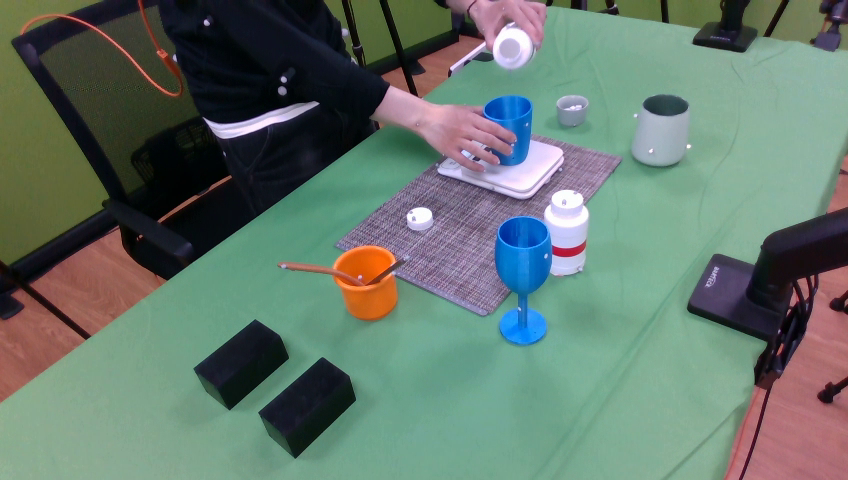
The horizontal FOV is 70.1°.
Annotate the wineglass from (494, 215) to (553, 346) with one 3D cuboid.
[{"bbox_3d":[0.127,0.055,0.770,0.074,0.173,0.073,-4,40,4],"label":"wineglass"}]

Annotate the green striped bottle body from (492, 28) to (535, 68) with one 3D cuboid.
[{"bbox_3d":[0.150,-0.321,1.015,0.063,0.063,0.119,5,17,14],"label":"green striped bottle body"}]

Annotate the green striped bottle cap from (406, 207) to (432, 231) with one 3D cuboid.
[{"bbox_3d":[-0.008,-0.035,1.011,0.044,0.020,0.044,-2,42,2],"label":"green striped bottle cap"}]

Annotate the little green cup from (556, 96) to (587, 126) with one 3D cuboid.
[{"bbox_3d":[0.295,-0.258,1.214,0.061,0.039,0.061,-4,42,4],"label":"little green cup"}]

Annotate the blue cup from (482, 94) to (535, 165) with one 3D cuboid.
[{"bbox_3d":[0.148,-0.187,1.052,0.092,0.101,0.092,-6,42,6],"label":"blue cup"}]

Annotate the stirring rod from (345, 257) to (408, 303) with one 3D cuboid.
[{"bbox_3d":[-0.067,0.056,0.815,0.014,0.175,0.006,-23,81,-37],"label":"stirring rod"}]

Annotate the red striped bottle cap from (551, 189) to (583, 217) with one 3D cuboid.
[{"bbox_3d":[0.200,-0.052,0.843,0.044,0.018,0.044,-2,42,2],"label":"red striped bottle cap"}]

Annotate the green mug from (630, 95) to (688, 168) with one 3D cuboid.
[{"bbox_3d":[0.421,-0.201,1.081,0.092,0.105,0.125,5,42,15],"label":"green mug"}]

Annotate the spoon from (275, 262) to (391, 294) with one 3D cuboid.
[{"bbox_3d":[-0.120,0.050,0.830,0.041,0.195,0.021,31,96,45],"label":"spoon"}]

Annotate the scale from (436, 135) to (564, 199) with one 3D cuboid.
[{"bbox_3d":[0.137,-0.142,1.101,0.199,0.032,0.149,22,48,30],"label":"scale"}]

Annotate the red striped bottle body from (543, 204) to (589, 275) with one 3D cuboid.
[{"bbox_3d":[0.206,-0.011,0.877,0.063,0.120,0.062,-5,41,4],"label":"red striped bottle body"}]
